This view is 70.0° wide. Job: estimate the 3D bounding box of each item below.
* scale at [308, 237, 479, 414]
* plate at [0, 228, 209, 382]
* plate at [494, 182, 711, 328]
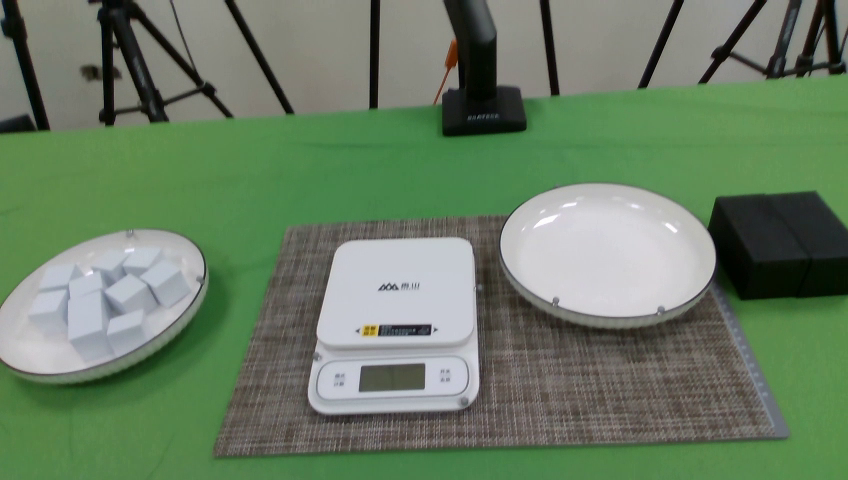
[{"bbox_3d":[-0.025,0.072,0.576,0.148,0.032,0.199,-3,40,5],"label":"scale"},{"bbox_3d":[-0.324,0.066,0.624,0.209,0.038,0.207,-3,39,3],"label":"plate"},{"bbox_3d":[0.176,0.015,0.614,0.207,0.039,0.205,-3,40,3],"label":"plate"}]
